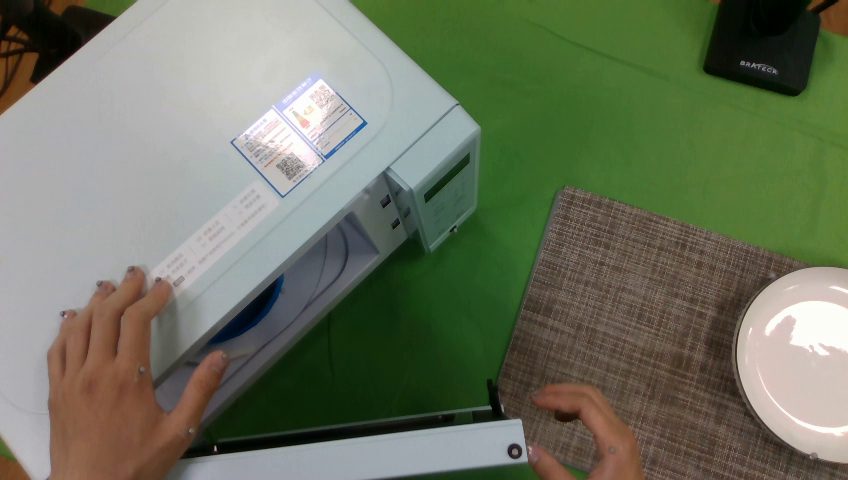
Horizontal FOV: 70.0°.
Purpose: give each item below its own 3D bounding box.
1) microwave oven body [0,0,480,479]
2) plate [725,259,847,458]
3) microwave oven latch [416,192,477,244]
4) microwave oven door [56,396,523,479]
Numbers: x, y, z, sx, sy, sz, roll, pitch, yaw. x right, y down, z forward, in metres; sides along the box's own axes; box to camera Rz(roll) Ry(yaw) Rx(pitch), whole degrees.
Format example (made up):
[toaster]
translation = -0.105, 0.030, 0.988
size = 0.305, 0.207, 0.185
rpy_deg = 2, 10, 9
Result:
[microwave oven body]
translation = -0.211, -0.034, 0.612
size = 0.441, 0.261, 0.324
rpy_deg = -44, 79, -5
[plate]
translation = 0.427, 0.125, 0.652
size = 0.207, 0.039, 0.206
rpy_deg = -1, 78, 3
[microwave oven latch]
translation = 0.026, -0.032, 0.696
size = 0.079, 0.029, 0.030
rpy_deg = -42, 79, -5
[microwave oven door]
translation = -0.097, 0.187, 0.551
size = 0.356, 0.245, 0.039
rpy_deg = -8, 77, 2
